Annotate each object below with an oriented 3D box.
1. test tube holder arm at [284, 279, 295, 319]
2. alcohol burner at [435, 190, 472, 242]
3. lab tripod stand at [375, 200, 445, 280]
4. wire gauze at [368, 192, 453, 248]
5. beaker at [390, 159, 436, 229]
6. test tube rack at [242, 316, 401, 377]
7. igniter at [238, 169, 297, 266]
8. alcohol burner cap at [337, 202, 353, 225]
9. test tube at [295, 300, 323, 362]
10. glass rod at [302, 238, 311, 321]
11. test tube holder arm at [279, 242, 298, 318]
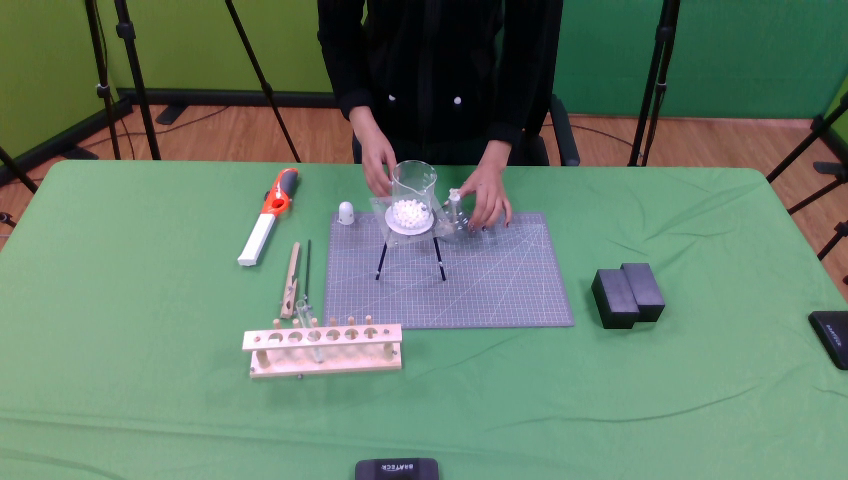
[{"bbox_3d":[-0.241,0.103,1.085,0.010,0.015,0.087,25,38,-26],"label":"test tube holder arm"},{"bbox_3d":[0.057,-0.053,1.189,0.078,0.120,0.077,2,48,-2],"label":"alcohol burner"},{"bbox_3d":[-0.023,0.004,1.113,0.148,0.132,0.147,4,45,-3],"label":"lab tripod stand"},{"bbox_3d":[-0.025,-0.041,1.065,0.122,0.011,0.124,-10,46,-18],"label":"wire gauze"},{"bbox_3d":[-0.020,-0.073,1.029,0.074,0.101,0.083,-10,48,-16],"label":"beaker"},{"bbox_3d":[-0.161,0.166,0.983,0.242,0.085,0.066,-2,46,-6],"label":"test tube rack"},{"bbox_3d":[-0.313,-0.055,1.224,0.057,0.025,0.275,1,45,10],"label":"igniter"},{"bbox_3d":[-0.161,-0.056,1.223,0.034,0.048,0.033,2,46,-1],"label":"alcohol burner cap"},{"bbox_3d":[-0.176,0.143,0.935,0.017,0.151,0.017,-2,46,2],"label":"test tube"},{"bbox_3d":[-0.218,0.069,1.125,0.008,0.008,0.198,-1,46,-5],"label":"glass rod"},{"bbox_3d":[-0.248,0.069,1.114,0.013,0.015,0.177,25,38,-26],"label":"test tube holder arm"}]
